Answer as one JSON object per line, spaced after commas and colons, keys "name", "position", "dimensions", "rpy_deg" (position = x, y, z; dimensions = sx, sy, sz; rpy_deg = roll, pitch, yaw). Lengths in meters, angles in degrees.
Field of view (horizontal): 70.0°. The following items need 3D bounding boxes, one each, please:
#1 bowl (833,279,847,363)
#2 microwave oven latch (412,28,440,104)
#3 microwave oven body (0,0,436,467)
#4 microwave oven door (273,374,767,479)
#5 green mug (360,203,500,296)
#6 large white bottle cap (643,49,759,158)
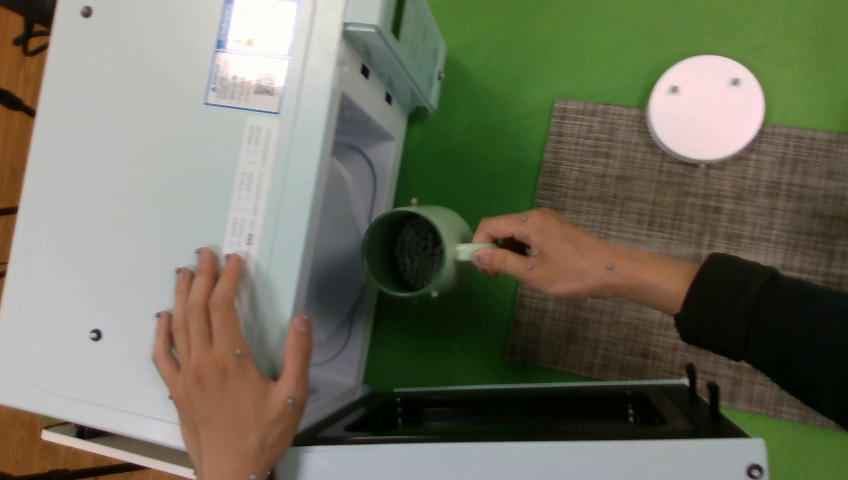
{"name": "bowl", "position": [0.457, 0.078, 0.569], "dimensions": [0.151, 0.077, 0.151], "rpy_deg": [-1, 87, 13]}
{"name": "microwave oven latch", "position": [0.000, -0.197, 0.685], "dimensions": [0.030, 0.029, 0.079], "rpy_deg": [9, 90, 12]}
{"name": "microwave oven body", "position": [-0.192, -0.051, 0.619], "dimensions": [0.325, 0.261, 0.441], "rpy_deg": [9, 90, 12]}
{"name": "microwave oven door", "position": [0.080, 0.165, 0.547], "dimensions": [0.355, 0.244, 0.039], "rpy_deg": [-5, 85, 12]}
{"name": "green mug", "position": [0.009, 0.009, 0.570], "dimensions": [0.125, 0.105, 0.092], "rpy_deg": [-1, 88, 11]}
{"name": "large white bottle cap", "position": [0.294, -0.145, 0.645], "dimensions": [0.114, 0.018, 0.114], "rpy_deg": [-1, 86, 11]}
